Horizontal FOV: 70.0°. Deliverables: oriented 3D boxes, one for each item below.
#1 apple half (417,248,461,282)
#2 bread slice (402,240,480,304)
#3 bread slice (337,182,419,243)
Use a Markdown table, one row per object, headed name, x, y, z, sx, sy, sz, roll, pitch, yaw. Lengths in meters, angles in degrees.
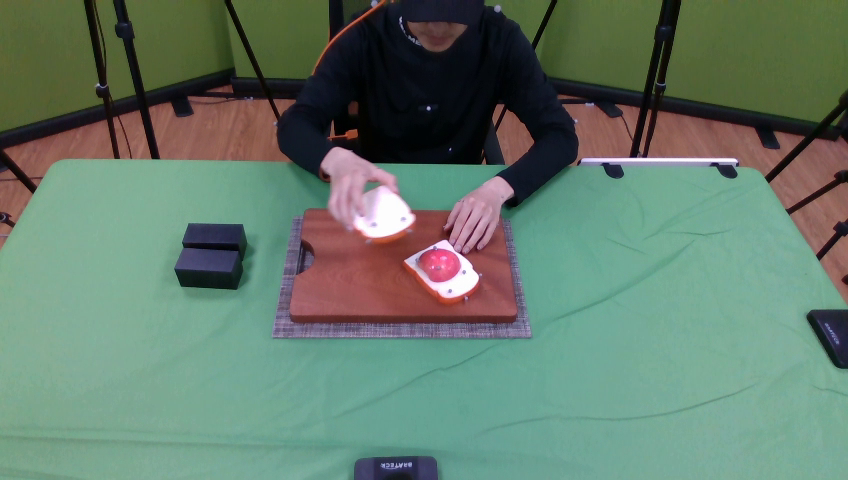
| name | x | y | z | sx | sy | sz | roll | pitch | yaw |
| --- | --- | --- | --- | --- | --- | --- | --- | --- | --- |
| apple half | 0.029 | 0.035 | 1.095 | 0.081 | 0.033 | 0.081 | 1 | 47 | -1 |
| bread slice | 0.040 | 0.058 | 1.106 | 0.105 | 0.019 | 0.131 | -28 | 54 | -25 |
| bread slice | -0.070 | -0.045 | 1.029 | 0.107 | 0.018 | 0.133 | -27 | 46 | -22 |
